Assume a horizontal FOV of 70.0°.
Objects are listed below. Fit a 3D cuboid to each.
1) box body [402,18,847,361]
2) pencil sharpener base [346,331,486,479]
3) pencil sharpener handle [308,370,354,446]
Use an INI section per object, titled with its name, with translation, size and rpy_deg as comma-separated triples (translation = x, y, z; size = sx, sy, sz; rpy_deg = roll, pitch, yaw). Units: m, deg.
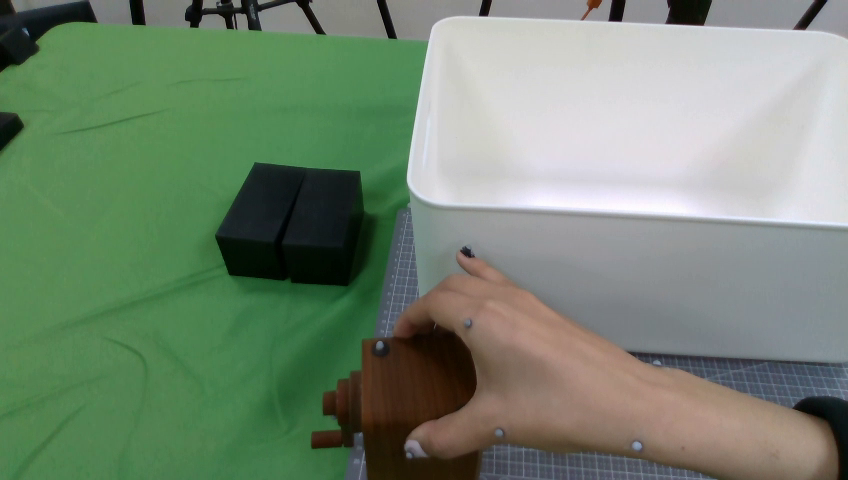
[box body]
translation = 0.175, -0.047, 0.503
size = 0.364, 0.162, 0.251
rpy_deg = 3, 46, 3
[pencil sharpener base]
translation = -0.007, 0.114, 0.379
size = 0.077, 0.108, 0.060
rpy_deg = -3, 43, -5
[pencil sharpener handle]
translation = -0.058, 0.106, 0.366
size = 0.031, 0.068, 0.035
rpy_deg = -3, 46, -5
